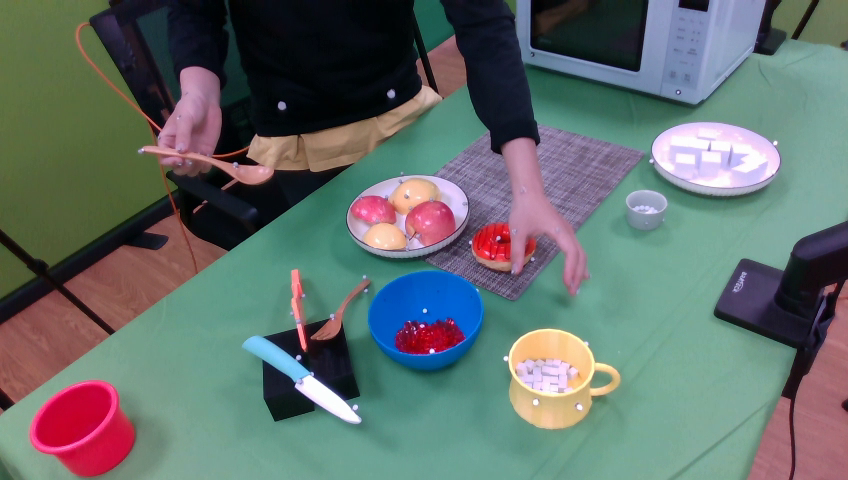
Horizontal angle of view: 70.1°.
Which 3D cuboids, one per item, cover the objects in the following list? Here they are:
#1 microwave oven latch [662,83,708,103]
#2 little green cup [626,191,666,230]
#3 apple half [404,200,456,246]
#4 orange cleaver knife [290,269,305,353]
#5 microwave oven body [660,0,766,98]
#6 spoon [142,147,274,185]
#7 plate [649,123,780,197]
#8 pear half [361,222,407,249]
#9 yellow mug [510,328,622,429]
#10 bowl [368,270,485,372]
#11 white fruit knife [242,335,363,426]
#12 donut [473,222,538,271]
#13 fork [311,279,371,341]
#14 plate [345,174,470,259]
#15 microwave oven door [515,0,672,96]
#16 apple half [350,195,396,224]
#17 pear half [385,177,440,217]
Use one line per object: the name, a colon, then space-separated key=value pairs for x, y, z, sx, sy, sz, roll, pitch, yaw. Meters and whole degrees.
microwave oven latch: x=0.518 y=-0.296 z=1.204 sx=0.078 sy=0.029 sz=0.030 roll=28 pitch=52 yaw=35
little green cup: x=0.352 y=-0.046 z=0.963 sx=0.061 sy=0.039 sz=0.061 roll=-4 pitch=40 yaw=4
apple half: x=0.010 y=-0.035 z=0.969 sx=0.075 sy=0.053 sz=0.080 roll=-27 pitch=39 yaw=-22
orange cleaver knife: x=-0.175 y=0.094 z=0.844 sx=0.012 sy=0.077 sz=0.210 roll=-11 pitch=15 yaw=-10
microwave oven body: x=0.472 y=-0.513 z=1.317 sx=0.438 sy=0.261 sz=0.327 roll=26 pitch=51 yaw=34
spoon: x=-0.304 y=-0.109 z=0.848 sx=0.194 sy=0.022 sz=0.041 roll=16 pitch=48 yaw=3
plate: x=0.497 y=-0.134 z=1.046 sx=0.207 sy=0.039 sz=0.206 roll=-4 pitch=40 yaw=4
pear half: x=-0.063 y=-0.012 z=0.958 sx=0.071 sy=0.031 sz=0.087 roll=2 pitch=24 yaw=-25
yellow mug: x=0.169 y=0.164 z=0.721 sx=0.130 sy=0.064 sz=0.099 roll=0 pitch=40 yaw=8
bowl: x=0.007 y=0.118 z=0.791 sx=0.151 sy=0.077 sz=0.150 roll=-5 pitch=40 yaw=4
white fruit knife: x=-0.148 y=0.167 z=0.730 sx=0.206 sy=0.016 sz=0.027 roll=26 pitch=80 yaw=31
donut: x=0.124 y=0.009 z=0.923 sx=0.099 sy=0.048 sz=0.098 roll=-4 pitch=37 yaw=3
fork: x=-0.108 y=0.092 z=0.832 sx=0.028 sy=0.019 sz=0.207 roll=-8 pitch=19 yaw=15
plate: x=-0.026 y=-0.037 z=1.004 sx=0.209 sy=0.038 sz=0.208 roll=-4 pitch=40 yaw=4
microwave oven door: x=0.343 y=-0.455 z=1.259 sx=0.353 sy=0.245 sz=0.039 roll=26 pitch=51 yaw=33
apple half: x=-0.081 y=-0.056 z=1.008 sx=0.081 sy=0.033 sz=0.081 roll=10 pitch=24 yaw=-4
pear half: x=-0.030 y=-0.079 z=1.033 sx=0.109 sy=0.056 sz=0.076 roll=0 pitch=36 yaw=15
